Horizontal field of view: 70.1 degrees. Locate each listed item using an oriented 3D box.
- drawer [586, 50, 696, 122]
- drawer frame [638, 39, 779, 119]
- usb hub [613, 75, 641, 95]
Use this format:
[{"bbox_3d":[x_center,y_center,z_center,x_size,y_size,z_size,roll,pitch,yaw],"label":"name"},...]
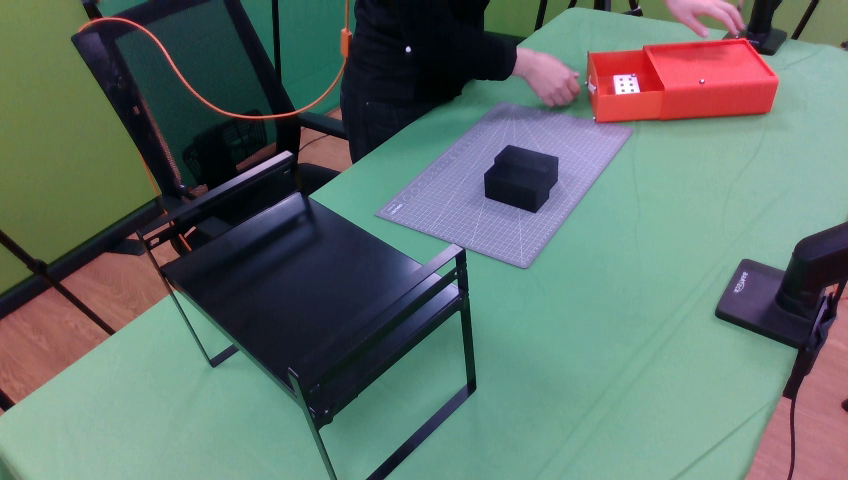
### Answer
[{"bbox_3d":[0.447,-0.323,1.242,0.211,0.073,0.193,-1,40,7],"label":"drawer"},{"bbox_3d":[0.563,-0.329,1.227,0.213,0.083,0.201,-2,40,5],"label":"drawer frame"},{"bbox_3d":[0.419,-0.306,1.246,0.049,0.025,0.125,-5,31,17],"label":"usb hub"}]
